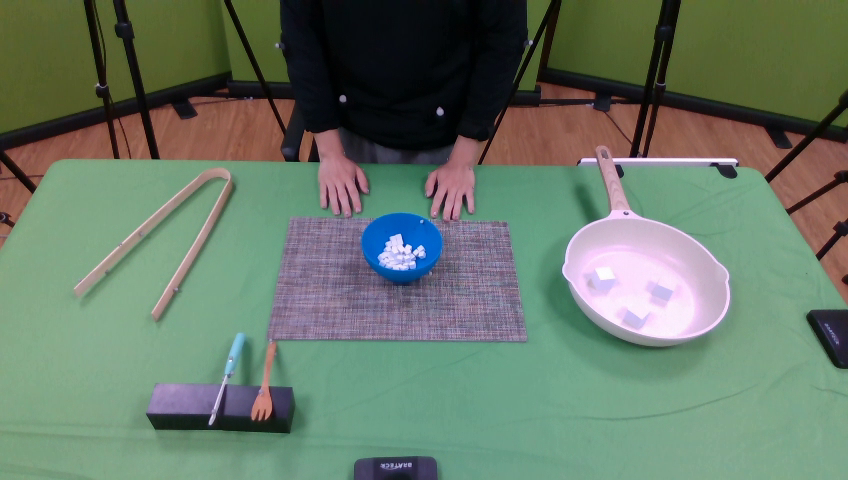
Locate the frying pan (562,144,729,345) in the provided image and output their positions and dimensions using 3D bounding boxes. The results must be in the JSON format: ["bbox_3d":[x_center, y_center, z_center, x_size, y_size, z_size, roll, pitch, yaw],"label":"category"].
[{"bbox_3d":[0.396,-0.008,1.179,0.307,0.103,0.484,1,55,-4],"label":"frying pan"}]

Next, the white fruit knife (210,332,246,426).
[{"bbox_3d":[-0.301,0.206,0.930,0.016,0.027,0.206,5,29,-7],"label":"white fruit knife"}]

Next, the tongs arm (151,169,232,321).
[{"bbox_3d":[-0.437,-0.004,1.163,0.028,0.028,0.385,6,46,5],"label":"tongs arm"}]

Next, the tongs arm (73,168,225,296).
[{"bbox_3d":[-0.515,-0.026,1.172,0.050,0.026,0.383,18,46,11],"label":"tongs arm"}]

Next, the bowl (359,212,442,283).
[{"bbox_3d":[-0.044,0.026,1.125,0.151,0.077,0.150,2,46,-2],"label":"bowl"}]

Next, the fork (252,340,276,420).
[{"bbox_3d":[-0.242,0.211,0.932,0.028,0.019,0.206,-7,27,-5],"label":"fork"}]
